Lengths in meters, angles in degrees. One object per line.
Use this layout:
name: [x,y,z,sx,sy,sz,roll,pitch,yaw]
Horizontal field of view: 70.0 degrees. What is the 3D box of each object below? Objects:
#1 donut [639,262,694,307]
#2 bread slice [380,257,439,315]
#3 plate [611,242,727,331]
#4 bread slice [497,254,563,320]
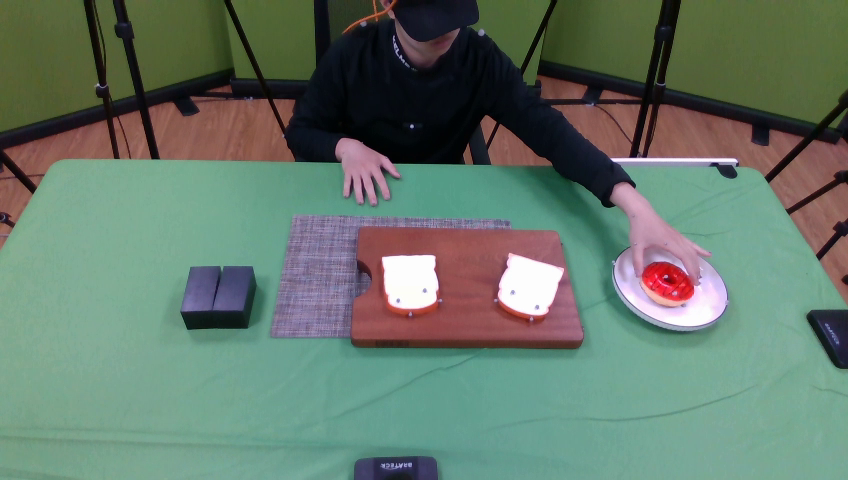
donut: [0.451,0.084,1.130,0.099,0.048,0.098,5,42,-4]
bread slice: [-0.024,0.079,1.087,0.105,0.019,0.130,-3,44,-5]
plate: [0.455,0.090,1.138,0.209,0.038,0.208,2,46,-2]
bread slice: [0.189,0.087,1.095,0.107,0.018,0.134,15,46,10]
